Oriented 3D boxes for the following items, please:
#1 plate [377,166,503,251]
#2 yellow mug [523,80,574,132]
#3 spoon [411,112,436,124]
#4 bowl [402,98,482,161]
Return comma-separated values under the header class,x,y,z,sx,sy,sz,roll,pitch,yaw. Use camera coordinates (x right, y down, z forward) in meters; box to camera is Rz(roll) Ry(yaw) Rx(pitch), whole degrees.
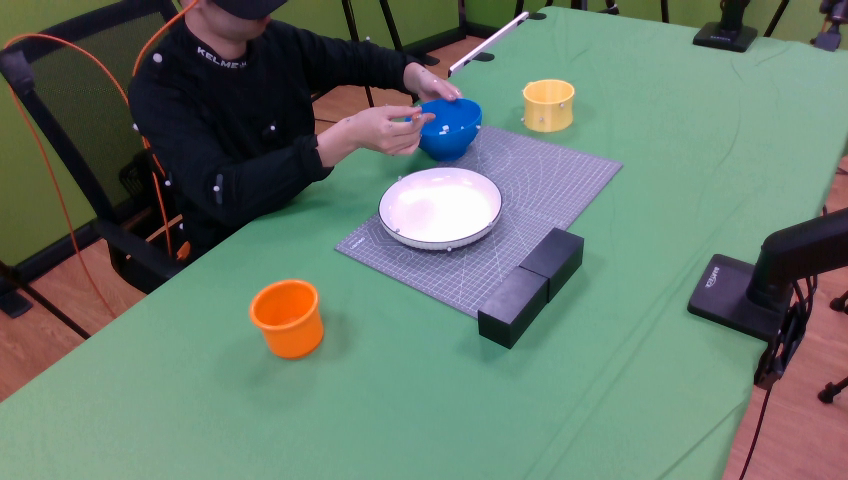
class,x,y,z,sx,sy,sz,roll,pitch,yaw
plate,0.027,-0.050,1.007,0.209,0.038,0.208,-4,41,4
yellow mug,0.242,-0.278,1.224,0.100,0.064,0.129,-24,42,-18
spoon,-0.008,-0.213,1.047,0.041,0.021,0.194,-9,8,9
bowl,0.040,-0.202,1.154,0.151,0.077,0.150,-7,37,6
